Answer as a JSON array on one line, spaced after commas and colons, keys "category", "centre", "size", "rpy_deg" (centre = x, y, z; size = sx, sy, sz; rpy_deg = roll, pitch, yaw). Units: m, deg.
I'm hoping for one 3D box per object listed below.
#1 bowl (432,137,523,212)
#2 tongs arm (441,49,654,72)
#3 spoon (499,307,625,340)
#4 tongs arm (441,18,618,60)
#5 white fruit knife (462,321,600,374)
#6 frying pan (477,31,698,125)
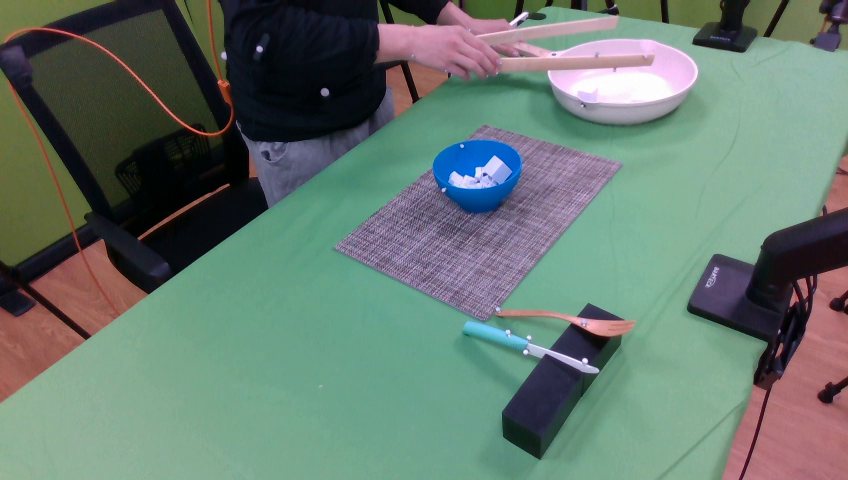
[{"category": "bowl", "centre": [0.091, -0.100, 1.022], "size": [0.151, 0.077, 0.150], "rpy_deg": [-4, 41, 4]}, {"category": "tongs arm", "centre": [0.222, -0.319, 1.062], "size": [0.386, 0.026, 0.050], "rpy_deg": [-7, 51, -14]}, {"category": "spoon", "centre": [0.169, 0.102, 0.773], "size": [0.042, 0.021, 0.192], "rpy_deg": [-7, 11, -38]}, {"category": "tongs arm", "centre": [0.200, -0.372, 1.108], "size": [0.389, 0.028, 0.028], "rpy_deg": [-15, 56, -21]}, {"category": "white fruit knife", "centre": [0.126, 0.132, 0.752], "size": [0.205, 0.027, 0.016], "rpy_deg": [12, 48, 42]}, {"category": "frying pan", "centre": [0.321, -0.371, 1.290], "size": [0.484, 0.103, 0.308], "rpy_deg": [29, 51, 24]}]
